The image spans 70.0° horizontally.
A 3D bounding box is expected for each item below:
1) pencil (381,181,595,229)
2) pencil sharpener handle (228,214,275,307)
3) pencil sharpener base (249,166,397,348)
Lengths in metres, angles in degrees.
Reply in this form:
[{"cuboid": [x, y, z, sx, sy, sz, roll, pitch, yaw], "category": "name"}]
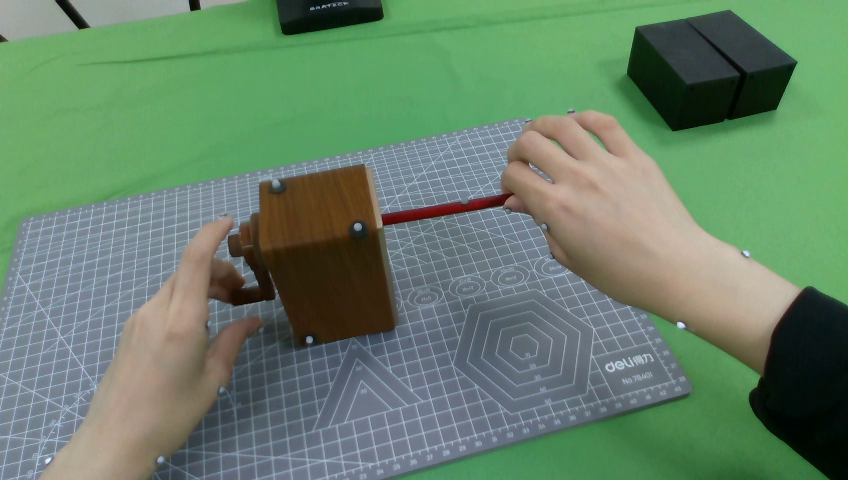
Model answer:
[{"cuboid": [0.015, -0.018, 0.383, 0.194, 0.012, 0.012, -10, 48, -6], "category": "pencil"}, {"cuboid": [-0.113, 0.017, 0.379, 0.031, 0.068, 0.035, -11, 43, -5], "category": "pencil sharpener handle"}, {"cuboid": [-0.063, 0.015, 0.394, 0.077, 0.108, 0.060, -11, 48, -5], "category": "pencil sharpener base"}]
